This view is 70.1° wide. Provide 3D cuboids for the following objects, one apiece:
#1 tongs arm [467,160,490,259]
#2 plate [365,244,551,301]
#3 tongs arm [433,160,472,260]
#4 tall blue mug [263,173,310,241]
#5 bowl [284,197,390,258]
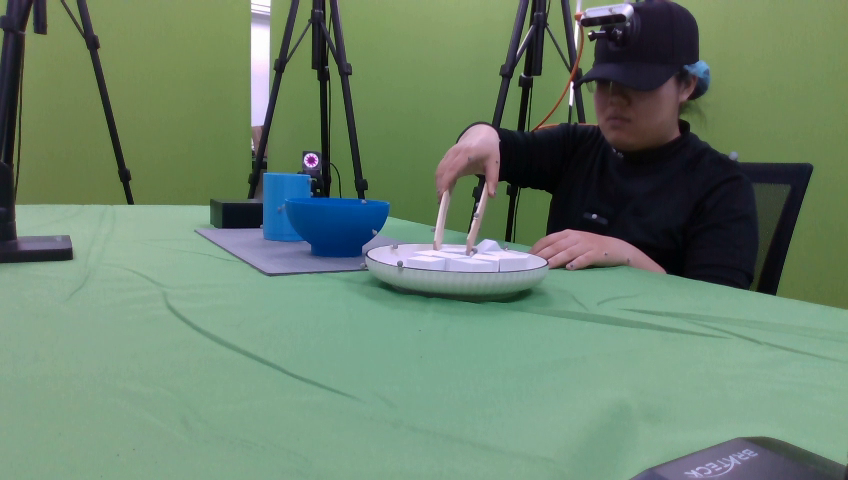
[{"bbox_3d":[0.069,-0.058,0.879,0.050,0.026,0.385,-2,21,13],"label":"tongs arm"},{"bbox_3d":[0.038,0.036,0.685,0.209,0.038,0.209,2,7,0],"label":"plate"},{"bbox_3d":[0.043,-0.057,0.883,0.028,0.028,0.387,-7,20,11],"label":"tongs arm"},{"bbox_3d":[-0.233,-0.058,1.019,0.078,0.108,0.107,-1,8,-19],"label":"tall blue mug"},{"bbox_3d":[-0.125,-0.018,0.870,0.151,0.077,0.151,3,7,0],"label":"bowl"}]
